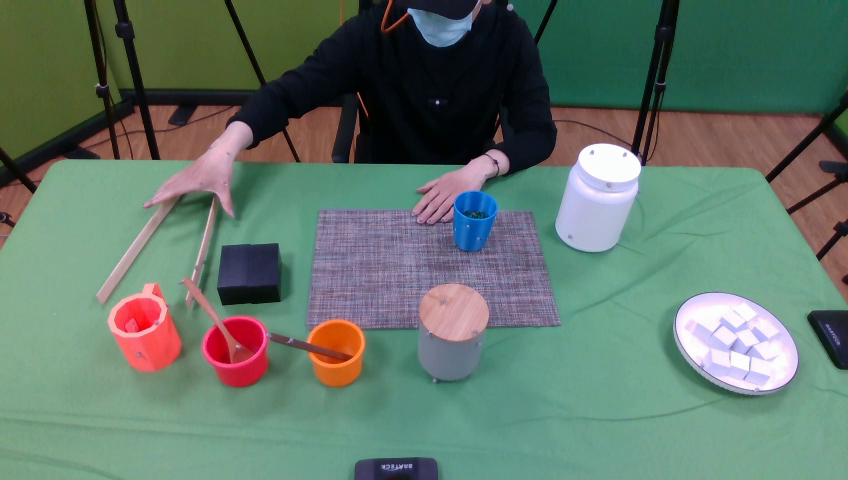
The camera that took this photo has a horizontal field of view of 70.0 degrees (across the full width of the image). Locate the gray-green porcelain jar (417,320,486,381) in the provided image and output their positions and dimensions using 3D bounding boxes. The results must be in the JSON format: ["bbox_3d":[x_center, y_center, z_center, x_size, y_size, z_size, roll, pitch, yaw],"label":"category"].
[{"bbox_3d":[0.042,0.158,0.975,0.106,0.127,0.105,2,46,-2],"label":"gray-green porcelain jar"}]

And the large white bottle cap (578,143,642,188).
[{"bbox_3d":[0.344,-0.139,1.123,0.115,0.018,0.114,2,46,-2],"label":"large white bottle cap"}]

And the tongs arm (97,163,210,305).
[{"bbox_3d":[-0.520,-0.027,1.183,0.028,0.028,0.385,5,45,12],"label":"tongs arm"}]

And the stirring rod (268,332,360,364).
[{"bbox_3d":[-0.167,0.169,0.942,0.177,0.006,0.014,26,27,-41],"label":"stirring rod"}]

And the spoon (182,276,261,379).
[{"bbox_3d":[-0.321,0.137,0.957,0.041,0.021,0.194,-36,102,-32],"label":"spoon"}]

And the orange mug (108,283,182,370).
[{"bbox_3d":[-0.446,0.134,0.983,0.083,0.101,0.125,-1,50,-5],"label":"orange mug"}]

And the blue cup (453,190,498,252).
[{"bbox_3d":[0.094,-0.032,1.174,0.093,0.101,0.092,3,45,-3],"label":"blue cup"}]

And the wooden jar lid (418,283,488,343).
[{"bbox_3d":[0.044,0.114,0.931,0.108,0.021,0.107,2,49,-2],"label":"wooden jar lid"}]

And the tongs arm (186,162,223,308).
[{"bbox_3d":[-0.436,-0.024,1.181,0.051,0.027,0.382,-3,45,0],"label":"tongs arm"}]

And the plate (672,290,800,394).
[{"bbox_3d":[0.533,0.178,1.050,0.208,0.039,0.206,2,46,-2],"label":"plate"}]

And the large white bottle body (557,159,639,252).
[{"bbox_3d":[0.340,-0.081,1.185,0.131,0.185,0.130,2,46,-1],"label":"large white bottle body"}]
